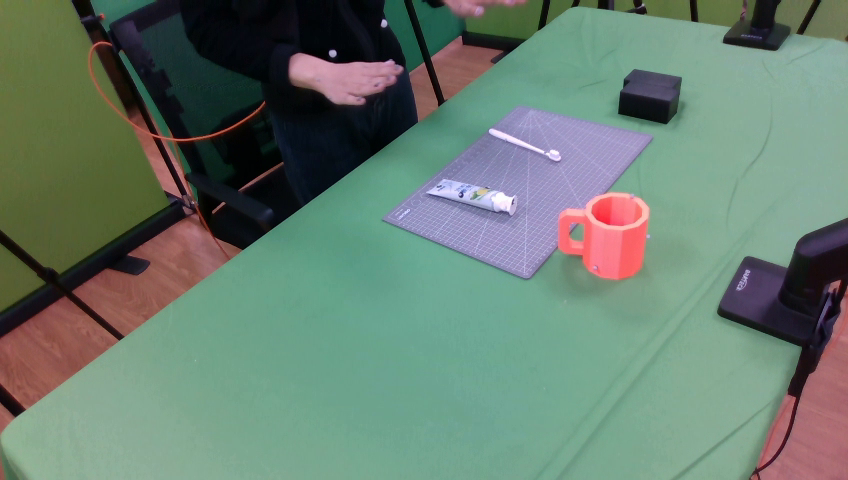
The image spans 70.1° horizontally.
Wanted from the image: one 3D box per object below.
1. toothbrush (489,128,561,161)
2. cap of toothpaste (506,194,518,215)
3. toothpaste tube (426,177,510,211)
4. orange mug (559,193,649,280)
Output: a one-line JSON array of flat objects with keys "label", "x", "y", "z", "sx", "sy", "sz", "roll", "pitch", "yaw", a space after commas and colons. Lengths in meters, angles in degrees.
[{"label": "toothbrush", "x": 0.191, "y": -0.188, "z": 1.167, "sx": 0.014, "sy": 0.017, "sz": 0.180, "roll": -44, "pitch": 48, "yaw": -16}, {"label": "cap of toothpaste", "x": 0.146, "y": -0.060, "z": 1.007, "sx": 0.011, "sy": 0.037, "sz": 0.037, "roll": 14, "pitch": 46, "yaw": 22}, {"label": "toothpaste tube", "x": 0.083, "y": -0.082, "z": 1.054, "sx": 0.164, "sy": 0.034, "sz": 0.055, "roll": 18, "pitch": 40, "yaw": 34}, {"label": "orange mug", "x": 0.261, "y": -0.008, "z": 0.884, "sx": 0.126, "sy": 0.101, "sz": 0.083, "roll": 9, "pitch": 43, "yaw": 14}]
